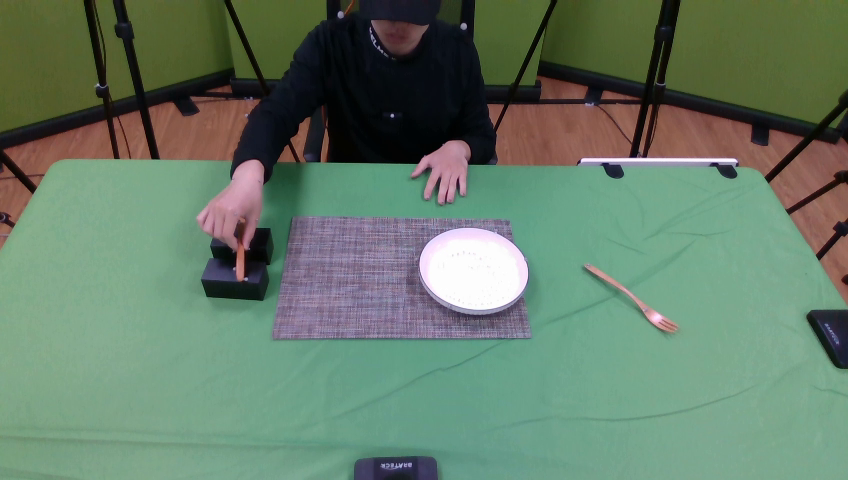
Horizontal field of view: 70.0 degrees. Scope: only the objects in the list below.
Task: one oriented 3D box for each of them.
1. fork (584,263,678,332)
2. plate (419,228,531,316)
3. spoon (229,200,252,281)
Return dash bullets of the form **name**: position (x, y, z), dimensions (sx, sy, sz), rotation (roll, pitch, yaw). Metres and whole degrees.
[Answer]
- **fork**: position (0.380, 0.103, 1.130), dimensions (0.028, 0.019, 0.206), rotation (-34, 58, -23)
- **plate**: position (0.093, 0.062, 1.131), dimensions (0.208, 0.039, 0.206), rotation (2, 46, -2)
- **spoon**: position (-0.333, -0.003, 1.097), dimensions (0.042, 0.022, 0.192), rotation (9, 41, -24)
